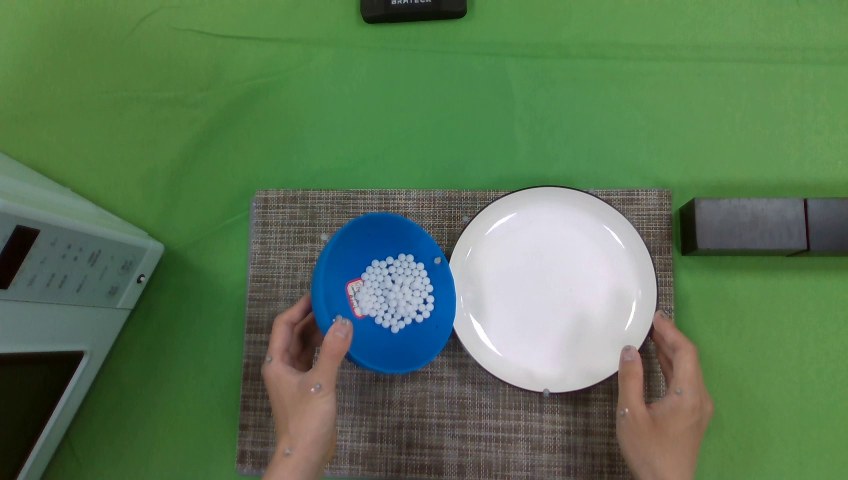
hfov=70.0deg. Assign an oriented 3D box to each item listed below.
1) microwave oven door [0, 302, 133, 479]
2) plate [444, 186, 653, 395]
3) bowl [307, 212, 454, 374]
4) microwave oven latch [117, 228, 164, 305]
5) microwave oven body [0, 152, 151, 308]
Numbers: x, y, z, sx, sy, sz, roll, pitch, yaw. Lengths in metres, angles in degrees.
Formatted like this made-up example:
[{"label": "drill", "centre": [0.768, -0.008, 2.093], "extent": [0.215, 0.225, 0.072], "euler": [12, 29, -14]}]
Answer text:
[{"label": "microwave oven door", "centre": [-0.426, 0.207, 0.534], "extent": [0.039, 0.245, 0.355], "euler": [26, 85, 11]}, {"label": "plate", "centre": [0.120, 0.050, 0.613], "extent": [0.207, 0.039, 0.207], "euler": [-1, 82, 6]}, {"label": "bowl", "centre": [-0.053, 0.055, 0.580], "extent": [0.152, 0.076, 0.150], "euler": [12, 70, -36]}, {"label": "microwave oven latch", "centre": [-0.311, 0.030, 0.650], "extent": [0.030, 0.029, 0.079], "euler": [28, 87, 9]}, {"label": "microwave oven body", "centre": [-0.535, 0.107, 0.566], "extent": [0.325, 0.261, 0.441], "euler": [27, 86, 9]}]
